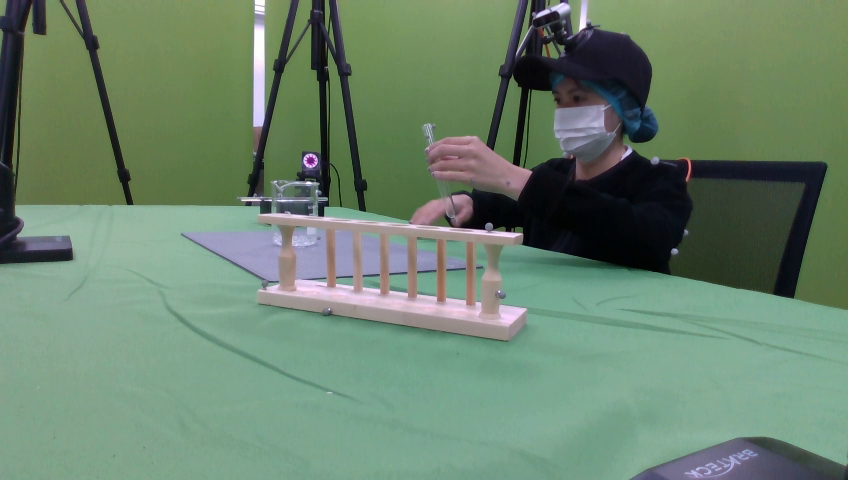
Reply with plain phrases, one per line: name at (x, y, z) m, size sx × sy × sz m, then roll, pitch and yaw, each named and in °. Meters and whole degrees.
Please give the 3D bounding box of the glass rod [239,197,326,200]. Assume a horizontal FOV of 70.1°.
glass rod at (-0.288, -0.087, 1.250) m, size 0.201 × 0.008 × 0.008 m, roll -4°, pitch 10°, yaw -42°

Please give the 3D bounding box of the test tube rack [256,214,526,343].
test tube rack at (-0.032, 0.027, 0.547) m, size 0.241 × 0.085 × 0.067 m, roll 5°, pitch 7°, yaw 22°

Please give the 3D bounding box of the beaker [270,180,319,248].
beaker at (-0.203, -0.040, 0.935) m, size 0.074 × 0.100 × 0.084 m, roll 5°, pitch 8°, yaw 18°

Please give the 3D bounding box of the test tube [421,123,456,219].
test tube at (0.022, -0.105, 0.922) m, size 0.017 × 0.150 × 0.017 m, roll -16°, pitch -1°, yaw 0°
